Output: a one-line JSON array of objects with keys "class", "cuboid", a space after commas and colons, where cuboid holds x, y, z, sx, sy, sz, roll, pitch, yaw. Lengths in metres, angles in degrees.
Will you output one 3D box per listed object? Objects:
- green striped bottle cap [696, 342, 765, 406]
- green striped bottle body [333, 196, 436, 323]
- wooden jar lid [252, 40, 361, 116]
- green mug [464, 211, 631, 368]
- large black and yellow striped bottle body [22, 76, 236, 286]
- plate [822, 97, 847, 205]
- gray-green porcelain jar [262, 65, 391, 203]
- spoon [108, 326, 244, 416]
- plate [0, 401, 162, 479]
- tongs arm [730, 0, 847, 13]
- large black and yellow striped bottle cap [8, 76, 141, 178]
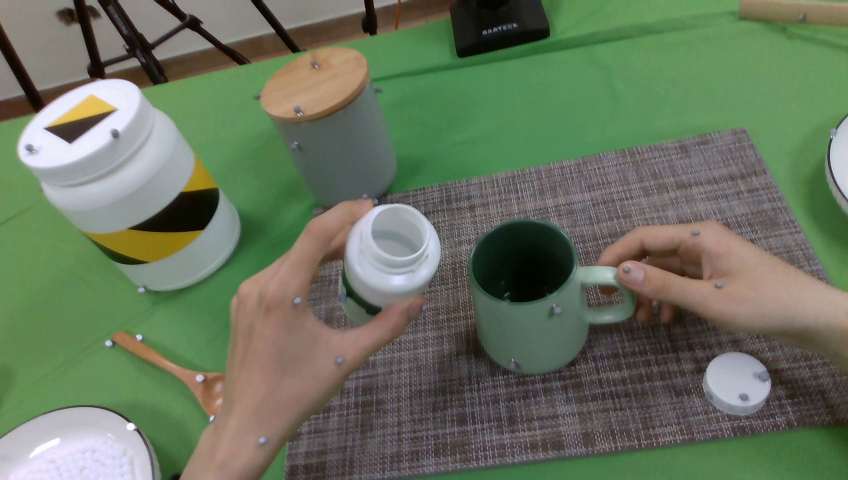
[{"class": "green striped bottle cap", "cuboid": [0.225, 0.098, 0.446, 0.044, 0.020, 0.044, -7, 48, 8]}, {"class": "green striped bottle body", "cuboid": [-0.029, 0.013, 0.421, 0.063, 0.120, 0.062, 5, 66, -10]}, {"class": "wooden jar lid", "cuboid": [-0.109, -0.151, 0.576, 0.108, 0.021, 0.107, -10, 50, 12]}, {"class": "green mug", "cuboid": [0.095, 0.039, 0.468, 0.125, 0.106, 0.091, -3, 52, 13]}, {"class": "large black and yellow striped bottle body", "cuboid": [-0.285, -0.053, 0.596, 0.130, 0.186, 0.129, -7, 52, 10]}, {"class": "plate", "cuboid": [0.442, -0.061, 0.496, 0.207, 0.039, 0.205, -8, 52, 10]}, {"class": "gray-green porcelain jar", "cuboid": [-0.095, -0.110, 0.622, 0.106, 0.128, 0.105, -8, 48, 9]}, {"class": "spoon", "cuboid": [-0.235, 0.112, 0.561, 0.192, 0.022, 0.041, 18, 81, 26]}, {"class": "plate", "cuboid": [-0.301, 0.231, 0.478, 0.209, 0.038, 0.207, -7, 52, 10]}, {"class": "tongs arm", "cuboid": [0.495, -0.229, 0.580, 0.384, 0.028, 0.028, 21, 55, 38]}, {"class": "large black and yellow striped bottle cap", "cuboid": [-0.304, -0.101, 0.530, 0.115, 0.019, 0.114, -7, 51, 9]}]
